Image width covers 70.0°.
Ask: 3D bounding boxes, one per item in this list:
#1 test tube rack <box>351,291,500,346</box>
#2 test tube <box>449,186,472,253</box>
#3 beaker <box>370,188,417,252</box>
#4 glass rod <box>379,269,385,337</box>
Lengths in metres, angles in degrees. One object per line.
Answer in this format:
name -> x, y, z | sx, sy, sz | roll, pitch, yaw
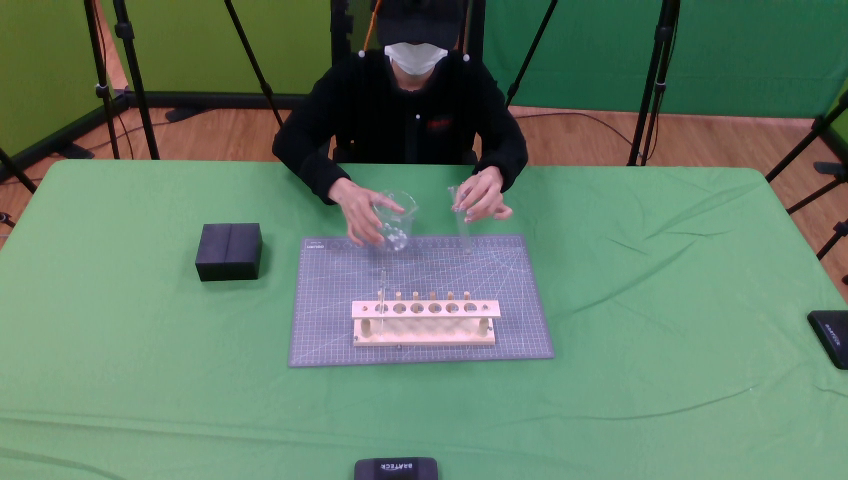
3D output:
test tube rack -> 0.000, 0.129, 1.026 | 0.242, 0.085, 0.066 | 0, 46, -4
test tube -> 0.062, -0.031, 1.011 | 0.017, 0.151, 0.017 | -8, 45, 8
beaker -> -0.058, -0.033, 1.109 | 0.084, 0.101, 0.073 | 3, 48, -6
glass rod -> -0.066, 0.104, 0.953 | 0.008, 0.200, 0.008 | 3, 53, -3
